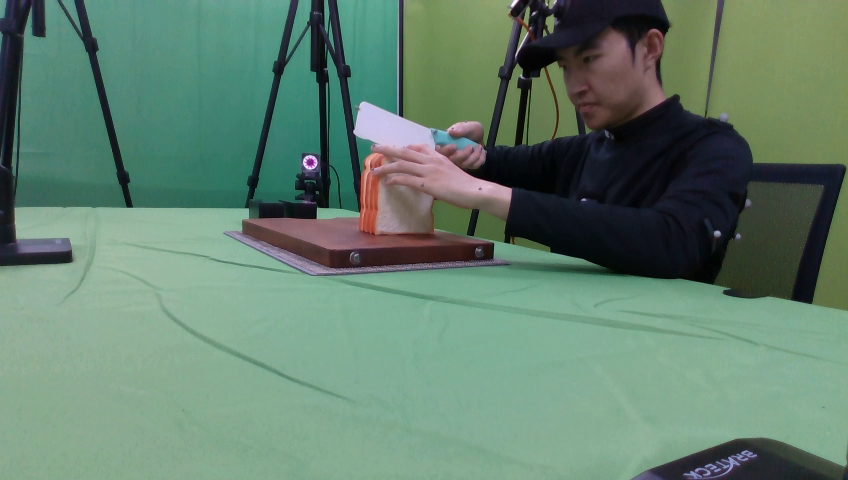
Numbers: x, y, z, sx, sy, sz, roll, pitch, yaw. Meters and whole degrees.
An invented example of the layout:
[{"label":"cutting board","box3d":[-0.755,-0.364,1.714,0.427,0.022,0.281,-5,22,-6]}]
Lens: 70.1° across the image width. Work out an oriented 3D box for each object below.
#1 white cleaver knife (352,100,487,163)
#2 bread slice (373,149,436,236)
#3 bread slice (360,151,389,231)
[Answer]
[{"label":"white cleaver knife","box3d":[-0.001,-0.164,1.013,0.288,0.066,0.021,11,-9,-39]},{"label":"bread slice","box3d":[-0.031,-0.073,0.938,0.107,0.134,0.018,-5,8,-31]},{"label":"bread slice","box3d":[-0.055,-0.080,0.986,0.105,0.131,0.019,0,1,-32]}]
